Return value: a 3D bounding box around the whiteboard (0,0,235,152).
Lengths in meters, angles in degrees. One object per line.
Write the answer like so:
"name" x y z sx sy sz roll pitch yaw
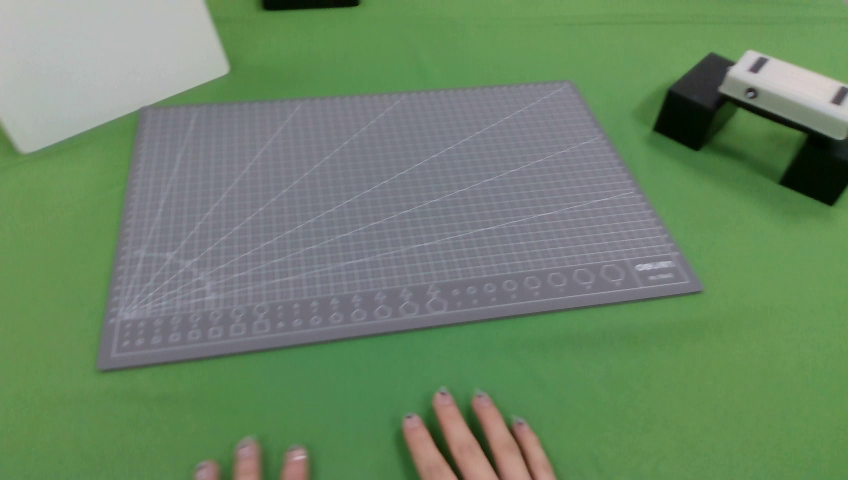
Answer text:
"whiteboard" -0.350 -0.276 0.552 0.217 0.308 0.142 -34 39 -28

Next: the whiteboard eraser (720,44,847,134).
"whiteboard eraser" 0.335 -0.136 0.552 0.112 0.042 0.055 32 56 25
